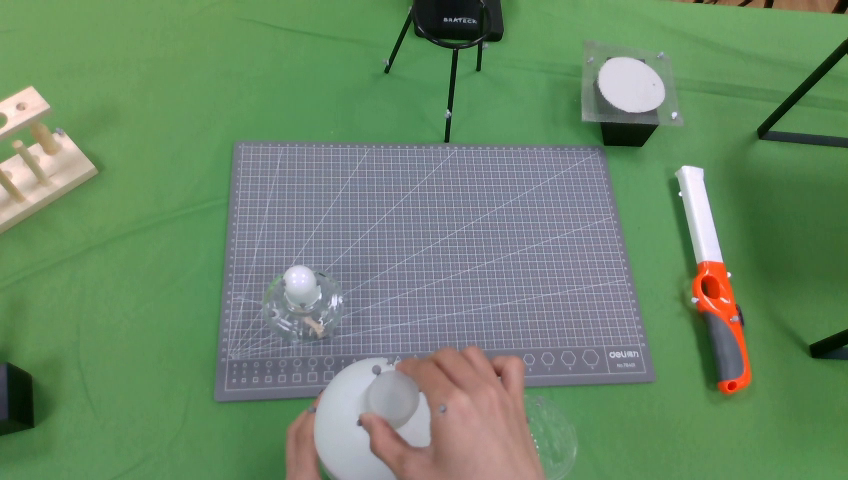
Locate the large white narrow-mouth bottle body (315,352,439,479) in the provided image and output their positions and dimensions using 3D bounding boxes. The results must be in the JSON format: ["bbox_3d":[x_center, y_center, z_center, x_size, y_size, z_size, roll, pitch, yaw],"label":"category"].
[{"bbox_3d":[-0.039,0.148,0.500,0.102,0.196,0.101,3,64,-5],"label":"large white narrow-mouth bottle body"}]

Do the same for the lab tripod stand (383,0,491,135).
[{"bbox_3d":[0.024,-0.221,0.712,0.149,0.132,0.147,4,66,-8],"label":"lab tripod stand"}]

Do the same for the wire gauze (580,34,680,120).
[{"bbox_3d":[0.251,-0.200,0.748,0.121,0.011,0.124,6,64,-4],"label":"wire gauze"}]

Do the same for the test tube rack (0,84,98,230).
[{"bbox_3d":[-0.462,-0.045,0.592,0.242,0.085,0.066,-40,76,-22],"label":"test tube rack"}]

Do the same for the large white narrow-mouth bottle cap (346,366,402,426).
[{"bbox_3d":[-0.033,0.103,0.400,0.038,0.024,0.037,3,64,-6],"label":"large white narrow-mouth bottle cap"}]

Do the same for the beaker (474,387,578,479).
[{"bbox_3d":[0.085,0.182,0.554,0.084,0.101,0.073,5,64,-4],"label":"beaker"}]

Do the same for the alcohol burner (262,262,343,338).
[{"bbox_3d":[-0.115,0.050,0.576,0.078,0.120,0.077,4,63,-8],"label":"alcohol burner"}]

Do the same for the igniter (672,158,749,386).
[{"bbox_3d":[0.327,0.029,0.696,0.057,0.025,0.274,6,65,-16],"label":"igniter"}]

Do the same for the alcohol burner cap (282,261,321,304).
[{"bbox_3d":[-0.111,0.037,0.543,0.034,0.048,0.033,1,70,-3],"label":"alcohol burner cap"}]
